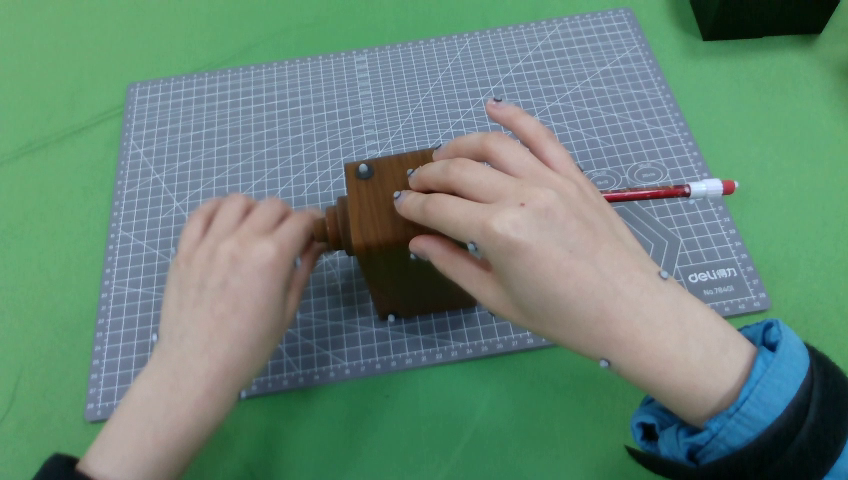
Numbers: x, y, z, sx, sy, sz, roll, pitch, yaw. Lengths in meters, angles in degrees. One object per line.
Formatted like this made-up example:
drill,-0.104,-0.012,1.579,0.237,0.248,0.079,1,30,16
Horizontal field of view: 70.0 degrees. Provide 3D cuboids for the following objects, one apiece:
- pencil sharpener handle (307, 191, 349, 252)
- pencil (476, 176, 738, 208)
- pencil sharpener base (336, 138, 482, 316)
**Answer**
pencil sharpener handle,-0.060,-0.008,0.365,0.030,0.068,0.036,-10,89,-1
pencil,0.091,-0.027,0.358,0.194,0.012,0.012,-4,60,-5
pencil sharpener base,-0.007,-0.003,0.375,0.077,0.108,0.061,-10,60,-1
